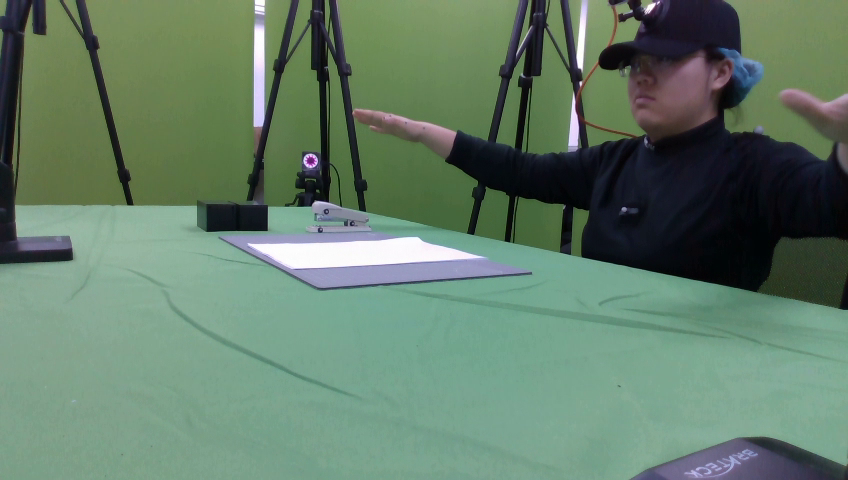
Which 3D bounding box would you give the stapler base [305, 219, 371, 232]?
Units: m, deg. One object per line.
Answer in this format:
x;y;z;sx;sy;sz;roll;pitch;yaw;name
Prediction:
-0.168;-0.029;1.186;0.131;0.024;0.041;0;9;-33;stapler base

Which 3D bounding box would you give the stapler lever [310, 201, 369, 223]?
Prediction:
-0.166;-0.054;1.184;0.119;0.040;0.026;0;9;-33;stapler lever
